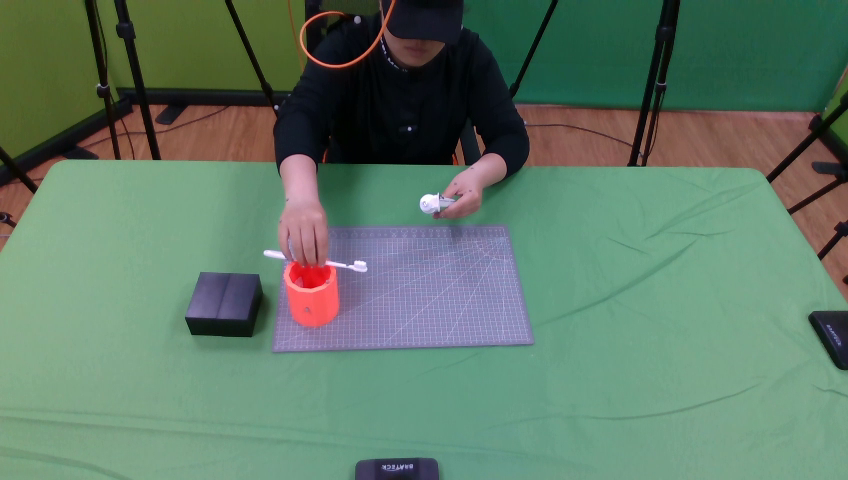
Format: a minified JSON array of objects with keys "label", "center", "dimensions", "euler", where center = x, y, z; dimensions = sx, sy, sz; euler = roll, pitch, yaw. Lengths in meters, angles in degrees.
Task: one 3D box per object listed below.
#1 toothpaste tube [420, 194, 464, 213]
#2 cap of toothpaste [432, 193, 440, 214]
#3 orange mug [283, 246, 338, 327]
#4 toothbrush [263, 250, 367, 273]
[{"label":"toothpaste tube","center":[0.032,-0.068,1.146],"dimensions":[0.055,0.165,0.034],"euler":[-16,86,18]},{"label":"cap of toothpaste","center":[0.021,-0.064,1.056],"dimensions":[0.011,0.037,0.037],"euler":[7,46,5]},{"label":"orange mug","center":[-0.192,0.074,1.056],"dimensions":[0.083,0.101,0.125],"euler":[5,50,1]},{"label":"toothbrush","center":[-0.183,0.033,1.013],"dimensions":[0.182,0.017,0.014],"euler":[8,43,9]}]
